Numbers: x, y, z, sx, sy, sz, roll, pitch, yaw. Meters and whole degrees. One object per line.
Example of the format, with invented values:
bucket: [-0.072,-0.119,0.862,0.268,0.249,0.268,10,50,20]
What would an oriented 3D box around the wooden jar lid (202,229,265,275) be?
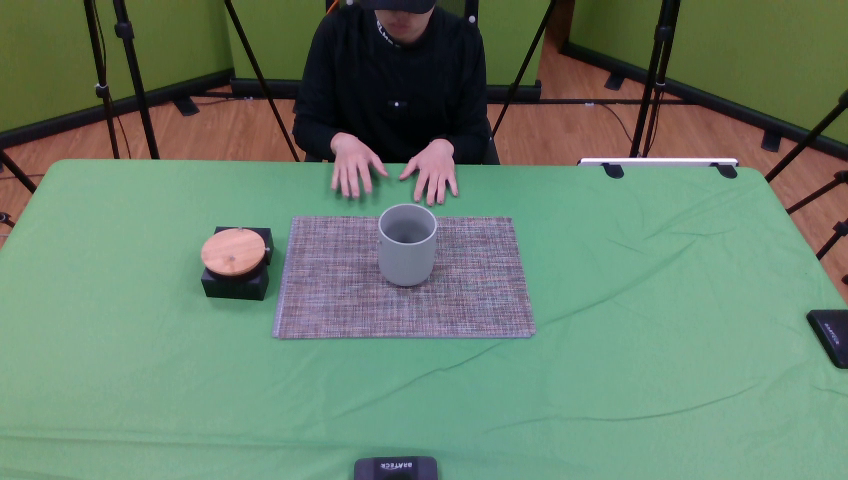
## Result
wooden jar lid: [-0.340,0.023,1.084,0.108,0.021,0.107,3,45,-2]

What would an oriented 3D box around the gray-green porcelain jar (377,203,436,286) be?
gray-green porcelain jar: [-0.033,0.014,1.106,0.106,0.127,0.105,2,46,-2]
